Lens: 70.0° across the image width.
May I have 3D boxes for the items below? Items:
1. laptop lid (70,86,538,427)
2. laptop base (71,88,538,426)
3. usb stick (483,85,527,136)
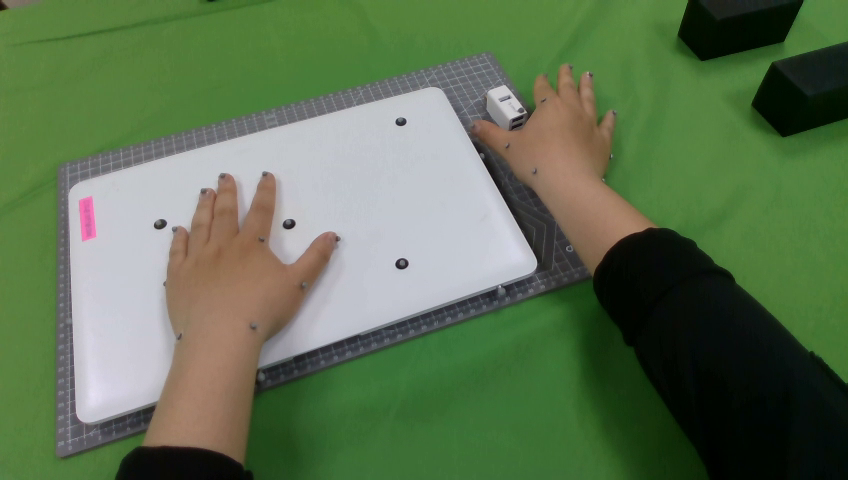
[{"bbox_3d":[-0.111,-0.011,0.506,0.357,0.013,0.239,-17,57,-9],"label":"laptop lid"},{"bbox_3d":[-0.111,-0.007,0.515,0.355,0.023,0.233,-18,58,-10],"label":"laptop base"},{"bbox_3d":[0.076,-0.130,0.585,0.021,0.027,0.058,-23,53,-10],"label":"usb stick"}]
